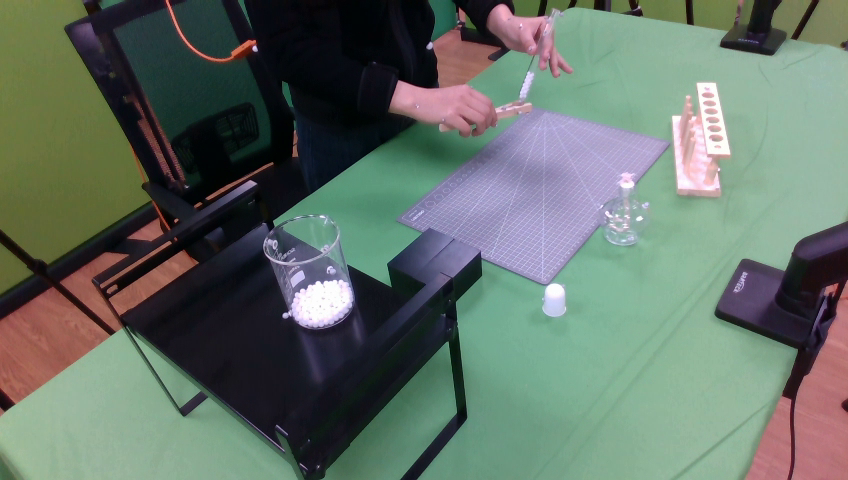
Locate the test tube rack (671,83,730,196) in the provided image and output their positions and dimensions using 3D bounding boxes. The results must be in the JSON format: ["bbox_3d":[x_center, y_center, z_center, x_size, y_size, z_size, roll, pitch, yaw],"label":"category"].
[{"bbox_3d":[0.482,-0.184,1.067,0.066,0.085,0.242,6,42,15],"label":"test tube rack"}]

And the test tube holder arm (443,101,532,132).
[{"bbox_3d":[0.108,-0.207,1.007,0.179,0.015,0.013,-20,31,-27],"label":"test tube holder arm"}]

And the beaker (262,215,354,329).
[{"bbox_3d":[-0.112,0.034,0.616,0.073,0.101,0.084,13,44,23],"label":"beaker"}]

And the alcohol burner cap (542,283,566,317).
[{"bbox_3d":[0.181,0.081,0.840,0.034,0.048,0.033,-4,40,4],"label":"alcohol burner cap"}]

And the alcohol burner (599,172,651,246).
[{"bbox_3d":[0.306,-0.051,0.918,0.078,0.119,0.077,-6,41,5],"label":"alcohol burner"}]

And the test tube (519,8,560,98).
[{"bbox_3d":[0.190,-0.307,1.003,0.017,0.150,0.017,16,26,-7],"label":"test tube"}]

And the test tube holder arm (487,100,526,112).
[{"bbox_3d":[0.141,-0.223,1.033,0.088,0.015,0.010,-25,34,-33],"label":"test tube holder arm"}]
